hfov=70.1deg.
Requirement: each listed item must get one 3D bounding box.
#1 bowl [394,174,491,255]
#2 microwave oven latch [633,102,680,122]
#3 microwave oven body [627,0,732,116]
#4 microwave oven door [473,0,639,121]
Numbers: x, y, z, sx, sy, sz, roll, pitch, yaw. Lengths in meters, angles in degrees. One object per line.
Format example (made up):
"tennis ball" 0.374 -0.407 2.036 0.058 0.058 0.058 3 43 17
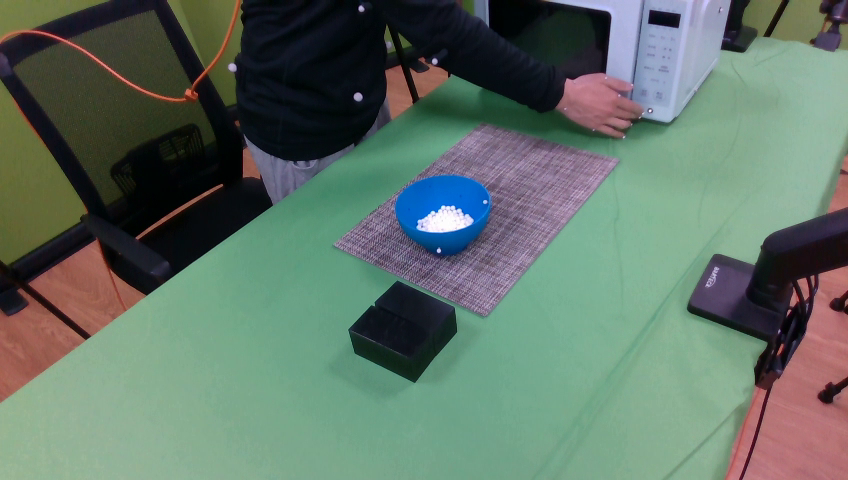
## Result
"bowl" 0.032 -0.030 0.949 0.151 0.077 0.150 -4 40 4
"microwave oven latch" 0.443 -0.249 1.157 0.078 0.029 0.030 21 49 30
"microwave oven body" 0.377 -0.463 1.267 0.438 0.261 0.327 21 49 30
"microwave oven door" 0.250 -0.389 1.193 0.353 0.245 0.039 24 49 32
